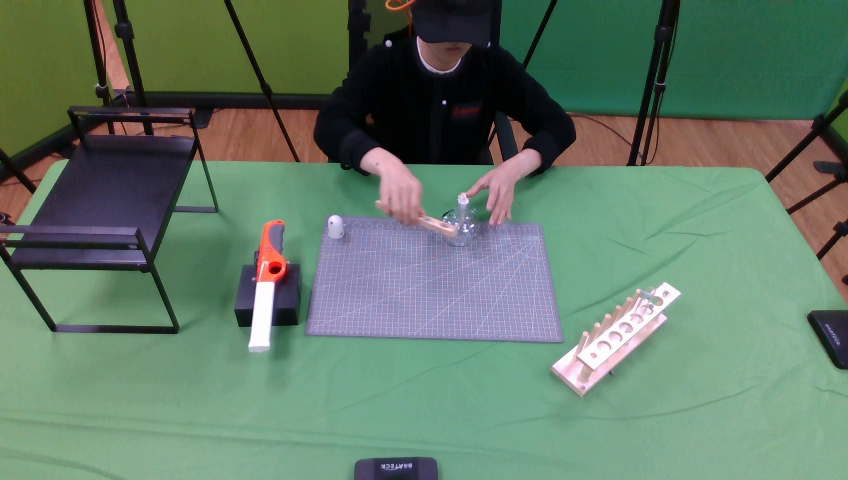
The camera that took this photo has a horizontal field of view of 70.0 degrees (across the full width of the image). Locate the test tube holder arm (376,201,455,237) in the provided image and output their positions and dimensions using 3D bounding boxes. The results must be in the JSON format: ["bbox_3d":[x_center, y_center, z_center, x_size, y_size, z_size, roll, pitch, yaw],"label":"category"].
[{"bbox_3d":[-0.018,-0.040,1.080,0.177,0.015,0.013,20,42,32],"label":"test tube holder arm"}]

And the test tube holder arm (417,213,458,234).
[{"bbox_3d":[0.021,-0.029,1.059,0.087,0.015,0.010,21,42,32],"label":"test tube holder arm"}]

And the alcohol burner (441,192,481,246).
[{"bbox_3d":[0.074,-0.046,1.176,0.078,0.119,0.077,3,44,-3],"label":"alcohol burner"}]

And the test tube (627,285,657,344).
[{"bbox_3d":[0.350,0.124,0.983,0.017,0.151,0.017,0,49,0],"label":"test tube"}]

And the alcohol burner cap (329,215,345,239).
[{"bbox_3d":[-0.172,-0.028,1.192,0.034,0.048,0.033,1,47,-1],"label":"alcohol burner cap"}]

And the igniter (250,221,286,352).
[{"bbox_3d":[-0.269,0.068,1.042,0.057,0.025,0.274,0,48,-7],"label":"igniter"}]

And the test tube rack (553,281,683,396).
[{"bbox_3d":[0.329,0.153,1.023,0.242,0.085,0.066,-30,54,-28],"label":"test tube rack"}]
